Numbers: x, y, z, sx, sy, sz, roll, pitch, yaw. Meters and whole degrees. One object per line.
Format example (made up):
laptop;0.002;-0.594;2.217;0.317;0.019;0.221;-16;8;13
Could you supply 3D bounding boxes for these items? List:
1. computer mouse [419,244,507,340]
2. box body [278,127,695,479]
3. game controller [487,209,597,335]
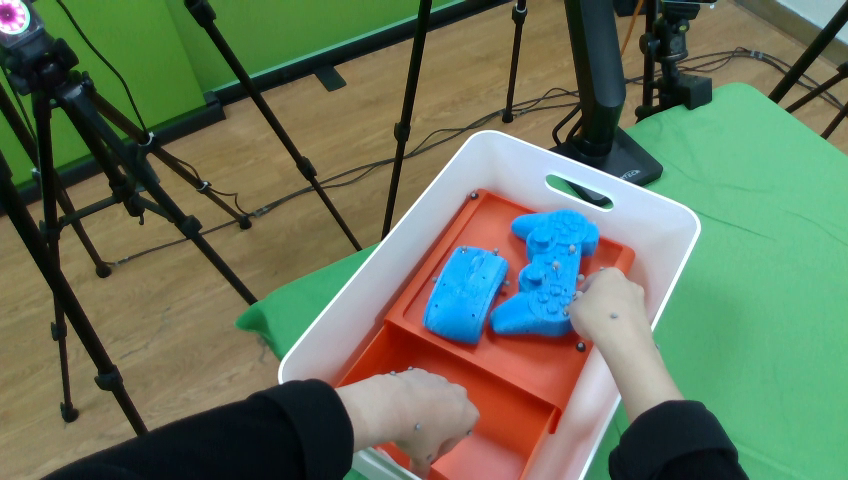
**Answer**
computer mouse;0.042;0.047;0.624;0.062;0.041;0.116;16;50;15
box body;0.072;0.089;0.609;0.252;0.162;0.363;26;58;19
game controller;0.125;0.028;0.628;0.097;0.052;0.154;11;54;11
